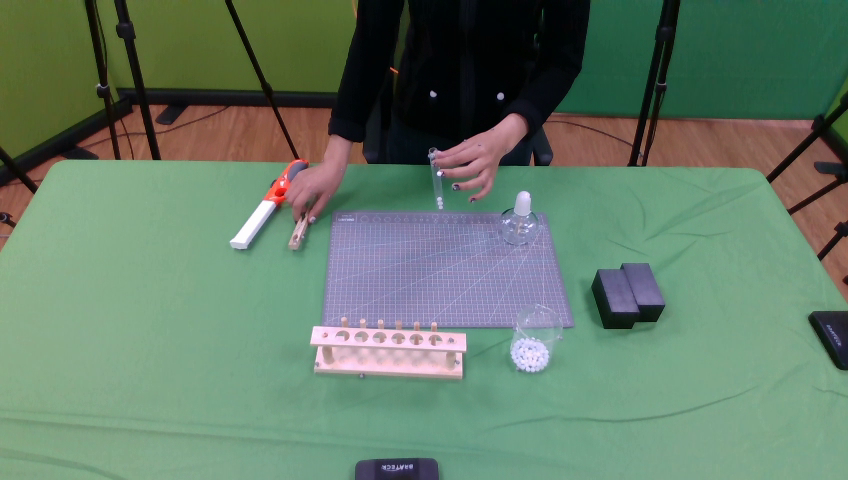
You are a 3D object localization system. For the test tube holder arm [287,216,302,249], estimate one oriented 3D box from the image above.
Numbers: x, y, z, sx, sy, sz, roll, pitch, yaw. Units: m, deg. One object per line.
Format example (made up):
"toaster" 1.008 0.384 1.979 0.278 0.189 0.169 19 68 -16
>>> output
"test tube holder arm" -0.250 -0.016 1.192 0.010 0.015 0.087 3 42 8

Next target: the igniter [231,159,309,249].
"igniter" -0.313 -0.082 1.251 0.057 0.025 0.275 8 45 18

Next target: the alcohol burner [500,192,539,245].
"alcohol burner" 0.190 -0.048 1.190 0.078 0.120 0.077 1 47 -1

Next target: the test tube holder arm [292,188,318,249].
"test tube holder arm" -0.239 -0.046 1.224 0.013 0.015 0.177 3 42 7

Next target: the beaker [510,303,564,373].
"beaker" 0.182 0.164 1.000 0.074 0.101 0.083 2 46 -1

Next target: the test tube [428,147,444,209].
"test tube" 0.024 -0.109 1.098 0.017 0.151 0.017 -4 50 5

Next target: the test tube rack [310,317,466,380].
"test tube rack" -0.056 0.171 0.987 0.242 0.085 0.066 3 45 -1

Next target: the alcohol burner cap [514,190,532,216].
"alcohol burner cap" 0.192 -0.074 1.166 0.034 0.048 0.033 1 41 -1
